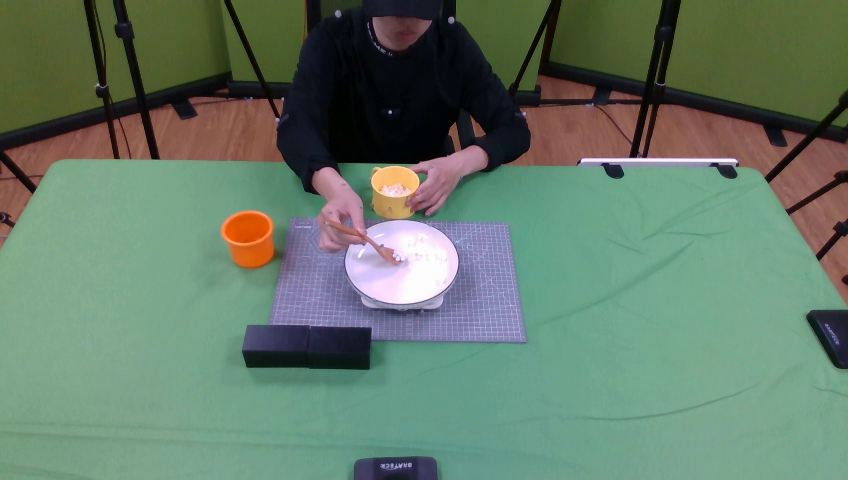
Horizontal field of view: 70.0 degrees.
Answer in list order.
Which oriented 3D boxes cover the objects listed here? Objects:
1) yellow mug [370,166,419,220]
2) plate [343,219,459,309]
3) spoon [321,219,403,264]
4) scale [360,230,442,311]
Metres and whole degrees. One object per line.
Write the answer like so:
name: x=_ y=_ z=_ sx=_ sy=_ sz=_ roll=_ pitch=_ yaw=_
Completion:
yellow mug: x=-0.073 y=-0.107 z=1.267 sx=0.100 sy=0.064 sz=0.130 roll=-29 pitch=54 yaw=-30
plate: x=-0.041 y=0.046 z=1.094 sx=0.209 sy=0.038 sz=0.208 roll=2 pitch=46 yaw=-2
spoon: x=-0.103 y=0.000 z=1.039 sx=0.021 sy=0.195 sz=0.041 roll=-41 pitch=47 yaw=15
scale: x=-0.042 y=0.048 z=1.138 sx=0.149 sy=0.032 sz=0.199 roll=2 pitch=46 yaw=-3
